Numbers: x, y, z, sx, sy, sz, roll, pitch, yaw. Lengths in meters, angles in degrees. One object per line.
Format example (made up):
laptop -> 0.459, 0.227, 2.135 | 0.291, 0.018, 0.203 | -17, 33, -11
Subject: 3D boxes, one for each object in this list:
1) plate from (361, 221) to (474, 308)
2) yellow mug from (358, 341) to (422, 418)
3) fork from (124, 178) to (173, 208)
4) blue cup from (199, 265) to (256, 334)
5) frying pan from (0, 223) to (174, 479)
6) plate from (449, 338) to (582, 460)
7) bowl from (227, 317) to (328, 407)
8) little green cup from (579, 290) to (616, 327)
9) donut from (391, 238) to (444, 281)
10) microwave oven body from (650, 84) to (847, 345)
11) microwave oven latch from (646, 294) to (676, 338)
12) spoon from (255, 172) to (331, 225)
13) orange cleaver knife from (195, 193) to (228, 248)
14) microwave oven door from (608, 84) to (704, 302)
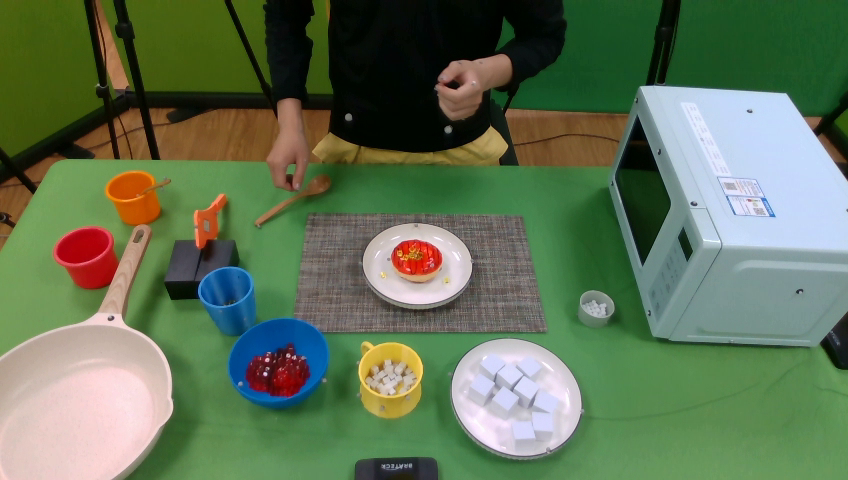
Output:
plate -> -0.011, 0.049, 1.130 | 0.209, 0.038, 0.208 | 2, 46, -2
yellow mug -> -0.063, 0.210, 0.961 | 0.100, 0.064, 0.130 | -29, 54, -28
fork -> -0.525, -0.089, 1.153 | 0.207, 0.019, 0.028 | -17, 27, 45
blue cup -> -0.321, 0.106, 1.015 | 0.093, 0.101, 0.092 | 2, 48, -2
frying pan -> -0.505, 0.169, 0.941 | 0.307, 0.103, 0.485 | 5, 54, -1
plate -> 0.141, 0.251, 0.955 | 0.208, 0.039, 0.206 | 2, 47, -2
bowl -> -0.222, 0.203, 0.947 | 0.151, 0.077, 0.150 | 2, 46, -2
little green cup -> 0.308, 0.124, 1.086 | 0.061, 0.039, 0.061 | 1, 45, -1
donut -> -0.012, 0.035, 1.128 | 0.099, 0.048, 0.098 | 3, 43, -2
microwave oven body -> 0.569, -0.054, 1.116 | 0.326, 0.261, 0.439 | 2, 46, -1
microwave oven latch -> 0.412, 0.133, 1.060 | 0.030, 0.029, 0.078 | 3, 46, 0
spoon -> -0.272, -0.087, 1.256 | 0.041, 0.022, 0.193 | 43, 57, 17
orange cleaver knife -> -0.406, -0.041, 1.163 | 0.012, 0.077, 0.210 | 0, 18, -3
microwave oven door -> 0.424, -0.096, 1.138 | 0.039, 0.245, 0.353 | 2, 47, -1
